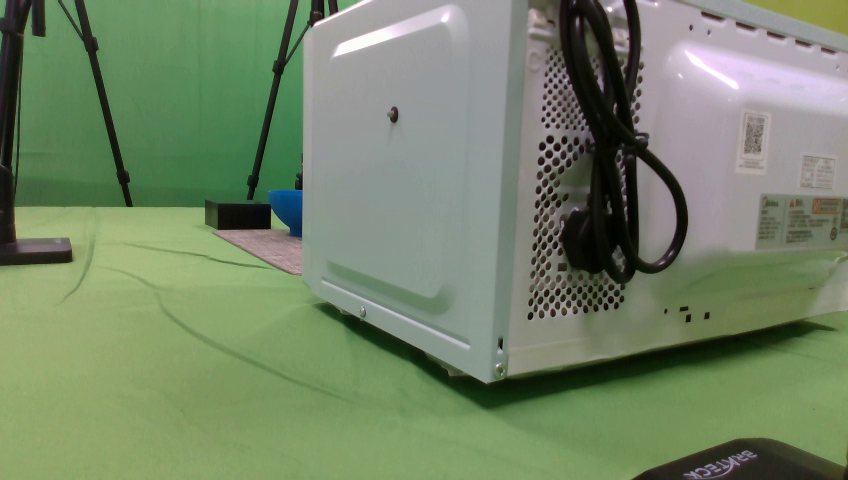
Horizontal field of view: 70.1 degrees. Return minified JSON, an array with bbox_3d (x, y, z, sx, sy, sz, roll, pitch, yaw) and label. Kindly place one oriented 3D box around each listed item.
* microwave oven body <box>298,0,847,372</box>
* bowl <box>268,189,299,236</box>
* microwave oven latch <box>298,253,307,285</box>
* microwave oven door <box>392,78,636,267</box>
[{"bbox_3d":[0.151,-0.055,0.543,0.444,0.260,0.324,-1,7,-33],"label":"microwave oven body"},{"bbox_3d":[-0.205,-0.049,1.090,0.151,0.077,0.151,3,7,0],"label":"bowl"},{"bbox_3d":[-0.082,0.027,0.583,0.079,0.029,0.030,-2,7,-33],"label":"microwave oven latch"},{"bbox_3d":[0.111,-0.102,0.866,0.354,0.243,0.039,7,8,31],"label":"microwave oven door"}]
